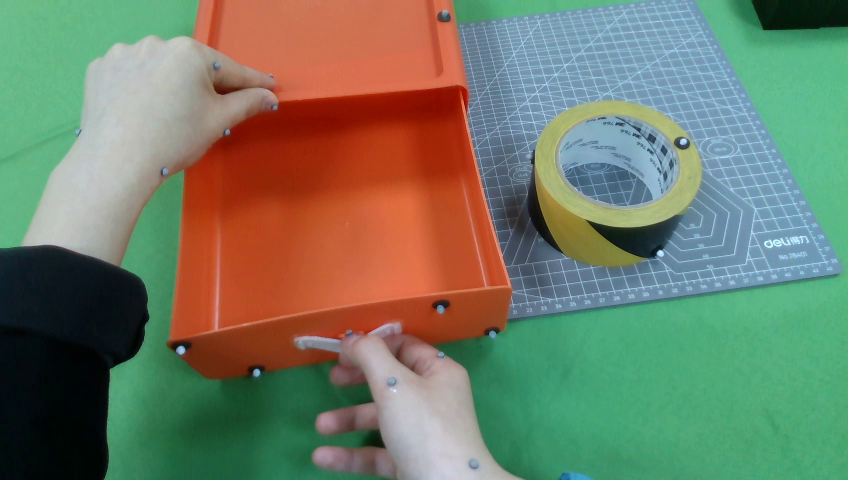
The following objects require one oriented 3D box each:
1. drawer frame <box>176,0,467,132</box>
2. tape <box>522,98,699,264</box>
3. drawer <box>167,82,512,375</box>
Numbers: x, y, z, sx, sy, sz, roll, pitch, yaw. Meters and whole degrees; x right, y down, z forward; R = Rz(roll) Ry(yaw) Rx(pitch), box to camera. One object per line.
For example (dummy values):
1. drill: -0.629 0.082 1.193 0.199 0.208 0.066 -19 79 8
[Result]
1. drawer frame: -0.078 -0.165 0.493 0.202 0.083 0.211 -6 58 -1
2. tape: 0.131 -0.042 0.429 0.117 0.053 0.116 -1 59 2
3. drawer: -0.059 -0.028 0.413 0.194 0.074 0.209 -9 59 -2
